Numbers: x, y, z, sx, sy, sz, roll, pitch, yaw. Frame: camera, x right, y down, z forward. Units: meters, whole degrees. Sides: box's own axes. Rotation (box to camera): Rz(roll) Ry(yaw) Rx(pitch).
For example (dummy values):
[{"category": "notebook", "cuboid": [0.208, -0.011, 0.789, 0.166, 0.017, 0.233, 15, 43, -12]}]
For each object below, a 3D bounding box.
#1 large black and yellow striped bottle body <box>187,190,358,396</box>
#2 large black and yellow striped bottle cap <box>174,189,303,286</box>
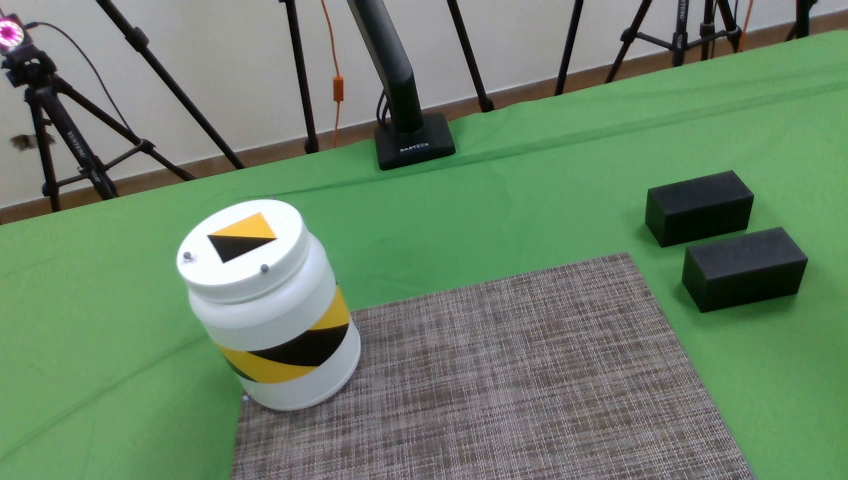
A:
[{"category": "large black and yellow striped bottle body", "cuboid": [-0.149, 0.054, 0.602, 0.130, 0.186, 0.129, -7, 43, 7]}, {"category": "large black and yellow striped bottle cap", "cuboid": [-0.166, -0.005, 0.545, 0.115, 0.019, 0.114, -7, 42, 7]}]
